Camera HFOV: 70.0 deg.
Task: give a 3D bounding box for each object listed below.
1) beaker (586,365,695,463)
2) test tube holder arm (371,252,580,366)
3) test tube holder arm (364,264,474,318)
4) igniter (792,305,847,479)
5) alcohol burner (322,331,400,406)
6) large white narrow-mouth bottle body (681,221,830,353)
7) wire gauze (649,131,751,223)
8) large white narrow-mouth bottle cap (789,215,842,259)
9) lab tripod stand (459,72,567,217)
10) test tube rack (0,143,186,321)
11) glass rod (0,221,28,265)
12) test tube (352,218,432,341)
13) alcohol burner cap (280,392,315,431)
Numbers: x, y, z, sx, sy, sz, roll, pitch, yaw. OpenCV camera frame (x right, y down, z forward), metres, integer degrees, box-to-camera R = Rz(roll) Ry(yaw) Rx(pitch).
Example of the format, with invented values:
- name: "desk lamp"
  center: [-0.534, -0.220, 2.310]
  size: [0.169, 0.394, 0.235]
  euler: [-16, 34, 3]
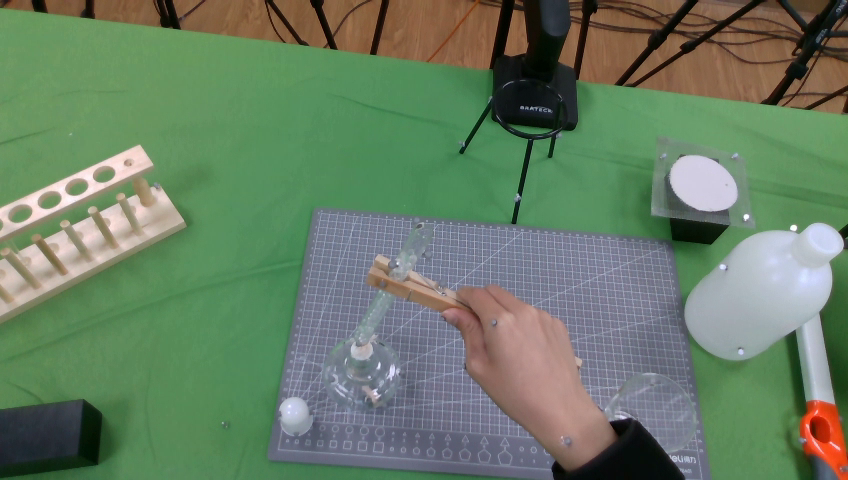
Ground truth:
- name: "beaker"
  center: [0.205, 0.175, 0.595]
  size: [0.084, 0.101, 0.073]
  euler: [2, 59, -3]
- name: "test tube holder arm"
  center: [0.039, 0.054, 0.474]
  size: [0.178, 0.015, 0.013]
  euler: [25, 46, 2]
- name: "test tube holder arm"
  center: [-0.004, 0.040, 0.470]
  size: [0.088, 0.015, 0.010]
  euler: [19, 45, -3]
- name: "igniter"
  center: [0.430, 0.181, 0.659]
  size: [0.057, 0.025, 0.274]
  euler: [17, 59, -8]
- name: "alcohol burner"
  center: [-0.061, 0.119, 0.592]
  size: [0.078, 0.120, 0.077]
  euler: [4, 59, -6]
- name: "large white narrow-mouth bottle body"
  center: [0.355, 0.042, 0.635]
  size: [0.102, 0.196, 0.101]
  euler: [2, 59, -3]
- name: "wire gauze"
  center: [0.341, -0.078, 0.754]
  size: [0.121, 0.011, 0.124]
  euler: [12, 59, 1]
- name: "large white narrow-mouth bottle cap"
  center: [0.361, -0.003, 0.561]
  size: [0.038, 0.024, 0.037]
  euler: [2, 60, -4]
- name: "lab tripod stand"
  center: [0.115, -0.122, 0.741]
  size: [0.148, 0.132, 0.147]
  euler: [3, 61, -5]
- name: "test tube rack"
  center: [-0.393, -0.003, 0.649]
  size: [0.242, 0.086, 0.066]
  euler: [-32, 68, -21]
- name: "glass rod"
  center: [-0.426, -0.035, 0.587]
  size: [0.008, 0.201, 0.008]
  euler: [4, 50, -5]
- name: "test tube"
  center: [-0.029, 0.037, 0.482]
  size: [0.017, 0.151, 0.017]
  euler: [16, 44, -16]
- name: "alcohol burner cap"
  center: [-0.127, 0.168, 0.599]
  size: [0.034, 0.048, 0.033]
  euler: [2, 62, -3]
